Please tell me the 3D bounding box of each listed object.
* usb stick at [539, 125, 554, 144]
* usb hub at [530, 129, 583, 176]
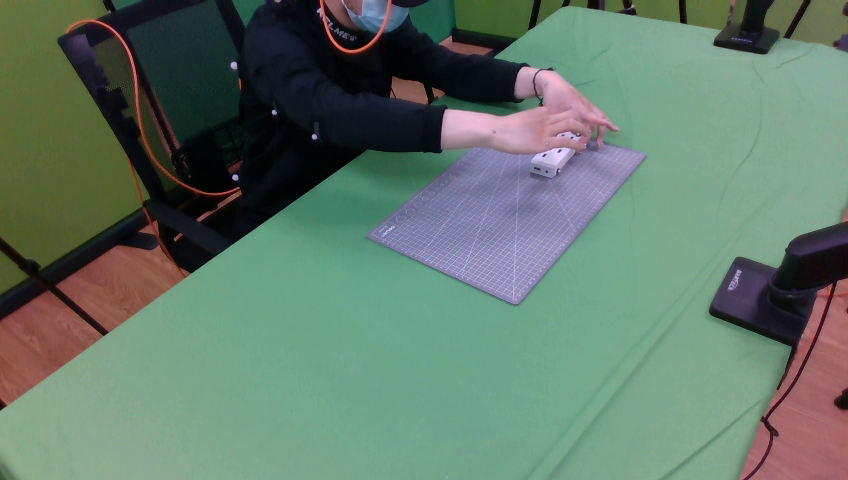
[{"bbox_3d":[0.217,-0.187,1.071,0.021,0.027,0.059,2,19,18],"label":"usb stick"},{"bbox_3d":[0.245,-0.162,1.116,0.049,0.025,0.125,22,49,29],"label":"usb hub"}]
